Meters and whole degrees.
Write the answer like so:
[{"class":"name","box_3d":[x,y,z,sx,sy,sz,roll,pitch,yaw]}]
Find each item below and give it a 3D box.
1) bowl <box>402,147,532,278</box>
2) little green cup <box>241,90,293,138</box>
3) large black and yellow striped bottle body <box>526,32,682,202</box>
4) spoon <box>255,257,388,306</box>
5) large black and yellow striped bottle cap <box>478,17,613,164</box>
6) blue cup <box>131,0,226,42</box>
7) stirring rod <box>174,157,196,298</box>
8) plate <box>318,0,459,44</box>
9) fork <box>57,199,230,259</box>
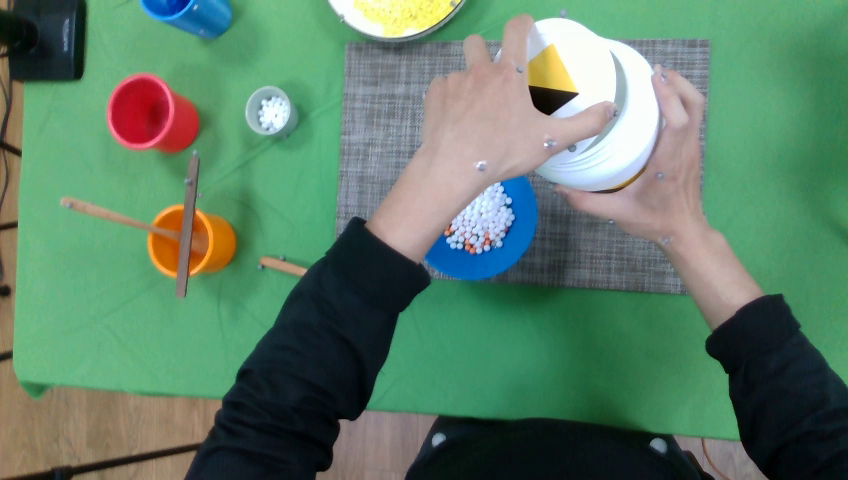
[{"class":"bowl","box_3d":[0.055,-0.030,0.725,0.151,0.077,0.151,0,89,11]},{"class":"little green cup","box_3d":[-0.205,-0.163,0.800,0.061,0.039,0.061,0,89,11]},{"class":"large black and yellow striped bottle body","box_3d":[0.160,-0.112,0.575,0.130,0.185,0.130,-3,83,32]},{"class":"spoon","box_3d":[-0.136,0.047,0.792,0.193,0.021,0.042,13,105,10]},{"class":"large black and yellow striped bottle cap","box_3d":[0.094,-0.120,0.488,0.114,0.019,0.115,-3,86,38]},{"class":"blue cup","box_3d":[-0.311,-0.305,0.789,0.092,0.100,0.092,0,89,13]},{"class":"stirring rod","box_3d":[-0.298,-0.015,0.756,0.014,0.006,0.176,5,90,9]},{"class":"plate","box_3d":[-0.041,-0.351,0.773,0.209,0.038,0.209,0,89,10]},{"class":"fork","box_3d":[-0.349,-0.014,0.768,0.209,0.018,0.028,20,96,-33]}]
